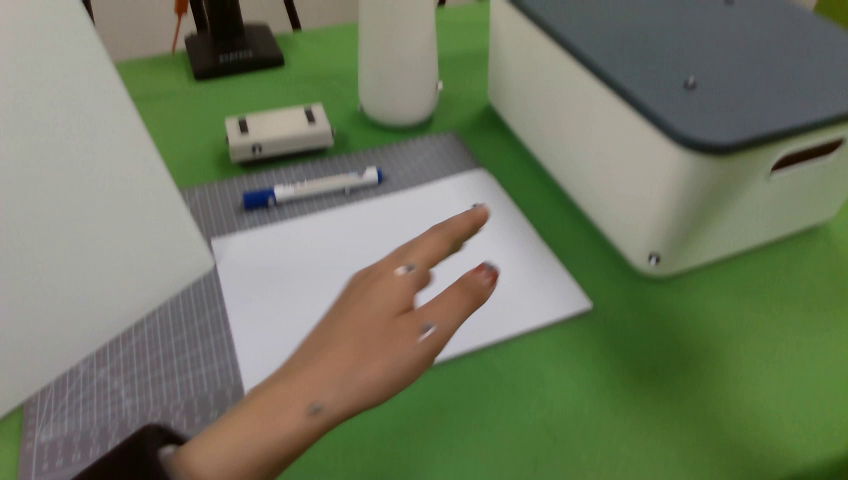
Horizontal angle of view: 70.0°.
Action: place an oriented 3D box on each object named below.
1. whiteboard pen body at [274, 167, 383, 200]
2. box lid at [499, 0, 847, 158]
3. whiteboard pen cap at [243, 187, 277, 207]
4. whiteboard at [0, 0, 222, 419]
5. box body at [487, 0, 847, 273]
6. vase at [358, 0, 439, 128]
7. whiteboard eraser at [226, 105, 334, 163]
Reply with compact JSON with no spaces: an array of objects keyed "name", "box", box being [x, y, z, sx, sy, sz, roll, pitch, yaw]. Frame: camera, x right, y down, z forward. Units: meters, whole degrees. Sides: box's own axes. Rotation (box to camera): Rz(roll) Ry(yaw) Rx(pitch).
[{"name":"whiteboard pen body","box":[-0.112,-0.057,0.635,0.141,0.017,0.017,-13,45,-14]},{"name":"box lid","box":[0.248,-0.206,0.588,0.264,0.015,0.367,-16,47,-16]},{"name":"whiteboard pen cap","box":[-0.168,-0.045,0.621,0.033,0.018,0.018,-10,45,-16]},{"name":"whiteboard","box":[-0.342,-0.057,0.465,0.142,0.308,0.217,14,43,41]},{"name":"box body","box":[0.248,-0.154,0.642,0.255,0.162,0.359,-16,47,-16]},{"name":"vase","box":[-0.029,-0.229,0.688,0.098,0.202,0.097,1,44,-1]},{"name":"whiteboard eraser","box":[-0.162,-0.118,0.683,0.113,0.042,0.055,-14,44,-14]}]
